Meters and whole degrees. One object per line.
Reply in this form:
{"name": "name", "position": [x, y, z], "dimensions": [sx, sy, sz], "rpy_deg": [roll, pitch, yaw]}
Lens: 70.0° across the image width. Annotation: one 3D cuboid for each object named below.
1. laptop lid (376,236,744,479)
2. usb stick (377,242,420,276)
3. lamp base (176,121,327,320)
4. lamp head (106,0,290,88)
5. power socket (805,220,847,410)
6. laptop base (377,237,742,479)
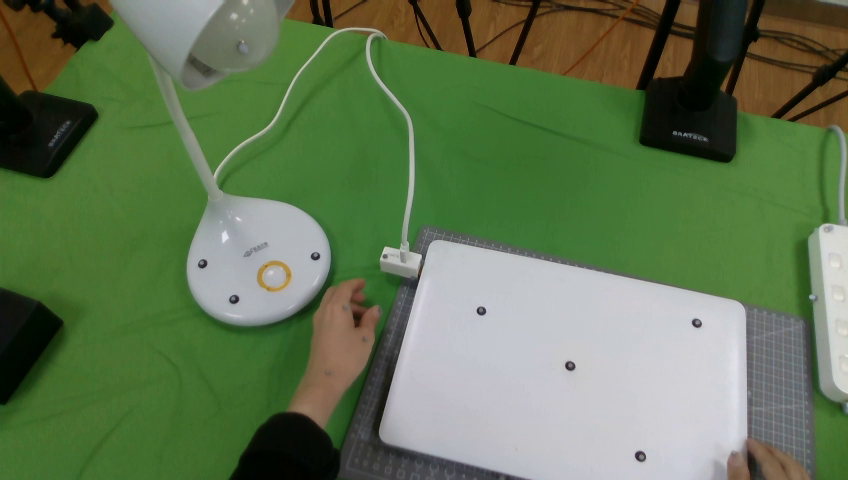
{"name": "laptop lid", "position": [0.148, 0.127, 0.624], "dimensions": [0.356, 0.013, 0.240], "rpy_deg": [13, 63, 7]}
{"name": "usb stick", "position": [-0.023, 0.023, 0.682], "dimensions": [0.059, 0.027, 0.021], "rpy_deg": [16, 55, 5]}
{"name": "lamp base", "position": [-0.200, -0.028, 0.631], "dimensions": [0.178, 0.182, 0.160], "rpy_deg": [39, 66, 23]}
{"name": "lamp head", "position": [-0.151, -0.170, 0.363], "dimensions": [0.123, 0.112, 0.112], "rpy_deg": [41, 65, -5]}
{"name": "power socket", "position": [0.465, 0.073, 0.664], "dimensions": [0.072, 0.033, 0.225], "rpy_deg": [13, 60, 6]}
{"name": "laptop base", "position": [0.148, 0.131, 0.635], "dimensions": [0.354, 0.023, 0.234], "rpy_deg": [11, 63, 6]}
